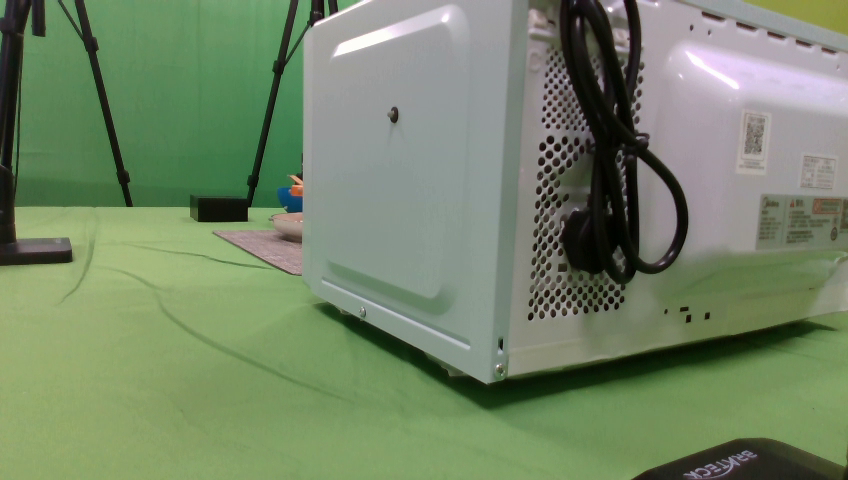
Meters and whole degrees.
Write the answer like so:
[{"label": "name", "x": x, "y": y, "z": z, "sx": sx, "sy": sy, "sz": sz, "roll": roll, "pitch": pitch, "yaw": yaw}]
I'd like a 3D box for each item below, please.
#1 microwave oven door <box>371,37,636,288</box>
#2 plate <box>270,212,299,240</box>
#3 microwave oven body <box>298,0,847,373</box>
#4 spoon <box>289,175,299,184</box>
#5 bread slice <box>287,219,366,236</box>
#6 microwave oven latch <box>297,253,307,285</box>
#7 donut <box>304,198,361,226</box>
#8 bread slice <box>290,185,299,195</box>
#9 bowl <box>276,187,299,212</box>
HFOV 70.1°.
[{"label": "microwave oven door", "x": 0.109, "y": -0.080, "z": 0.686, "sx": 0.358, "sy": 0.243, "sz": 0.039, "roll": -2, "pitch": 9, "yaw": -33}, {"label": "plate", "x": -0.162, "y": -0.022, "z": 1.058, "sx": 0.208, "sy": 0.039, "sz": 0.207, "roll": 2, "pitch": 7, "yaw": 0}, {"label": "microwave oven body", "x": 0.151, "y": -0.055, "z": 0.542, "sx": 0.444, "sy": 0.260, "sz": 0.324, "roll": -1, "pitch": 7, "yaw": -33}, {"label": "spoon", "x": -0.261, "y": -0.110, "z": 1.343, "sx": 0.042, "sy": 0.021, "sz": 0.192, "roll": -6, "pitch": 32, "yaw": -31}, {"label": "bread slice", "x": -0.170, "y": -0.022, "z": 1.056, "sx": 0.134, "sy": 0.018, "sz": 0.107, "roll": 2, "pitch": 7, "yaw": -6}, {"label": "microwave oven latch", "x": -0.082, "y": 0.027, "z": 0.582, "sx": 0.079, "sy": 0.029, "sz": 0.030, "roll": -1, "pitch": 7, "yaw": -33}, {"label": "donut", "x": -0.159, "y": -0.050, "z": 1.056, "sx": 0.099, "sy": 0.048, "sz": 0.099, "roll": 3, "pitch": 7, "yaw": 0}, {"label": "bread slice", "x": -0.166, "y": -0.082, "z": 1.054, "sx": 0.132, "sy": 0.019, "sz": 0.105, "roll": 5, "pitch": 3, "yaw": -2}, {"label": "bowl", "x": -0.241, "y": -0.073, "z": 1.302, "sx": 0.151, "sy": 0.077, "sz": 0.151, "roll": 2, "pitch": 7, "yaw": 0}]
